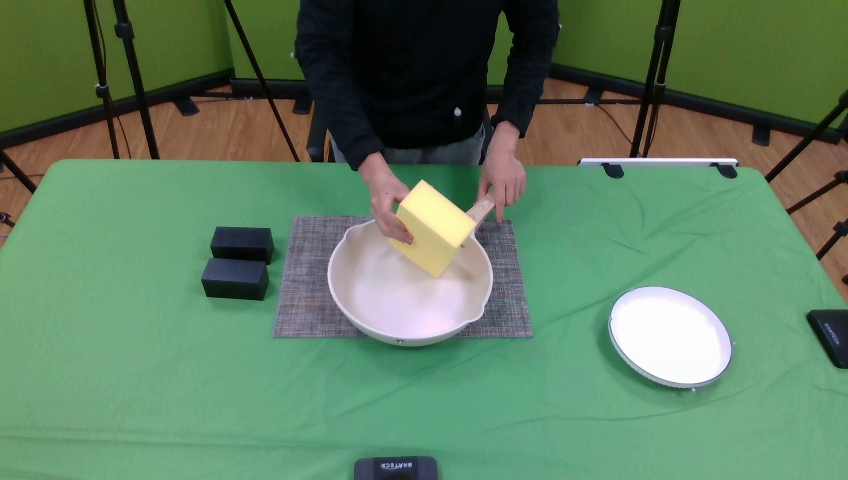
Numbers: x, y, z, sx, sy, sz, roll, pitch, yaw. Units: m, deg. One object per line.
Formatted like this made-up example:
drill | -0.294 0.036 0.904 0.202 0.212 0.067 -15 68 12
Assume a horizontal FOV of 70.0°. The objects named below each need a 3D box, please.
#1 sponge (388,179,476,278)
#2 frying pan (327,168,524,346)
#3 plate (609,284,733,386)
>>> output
sponge | 0.007 -0.012 1.063 0.118 0.207 0.061 39 71 4
frying pan | 0.042 0.009 1.132 0.305 0.103 0.487 34 61 24
plate | 0.425 0.167 1.059 0.208 0.039 0.206 2 46 -2
